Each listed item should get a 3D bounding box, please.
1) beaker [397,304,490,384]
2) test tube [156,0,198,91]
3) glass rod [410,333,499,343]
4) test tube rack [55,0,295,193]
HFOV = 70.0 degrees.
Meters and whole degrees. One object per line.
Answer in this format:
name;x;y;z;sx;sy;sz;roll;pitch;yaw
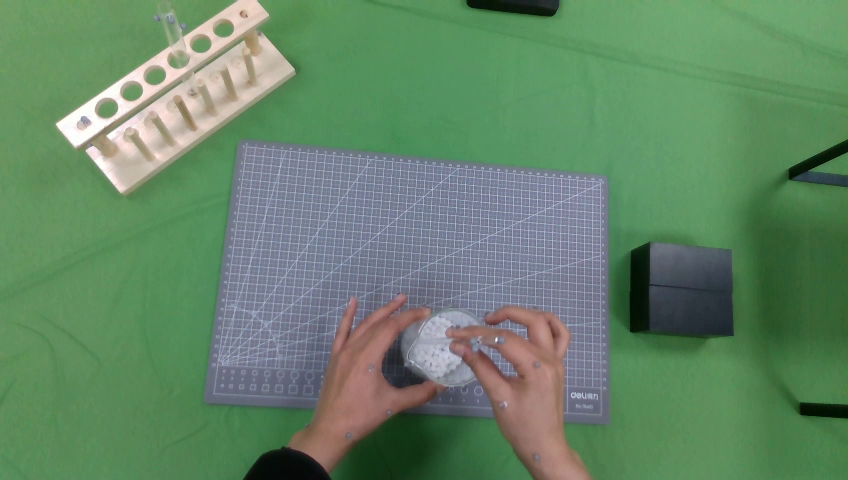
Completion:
beaker;0.013;0.107;0.614;0.084;0.100;0.074;-11;83;-15
test tube;-0.252;-0.196;0.627;0.017;0.150;0.017;3;74;-10
glass rod;0.021;0.091;0.556;0.008;0.199;0.008;4;79;-20
test tube rack;-0.262;-0.161;0.669;0.242;0.085;0.066;-40;85;-13
